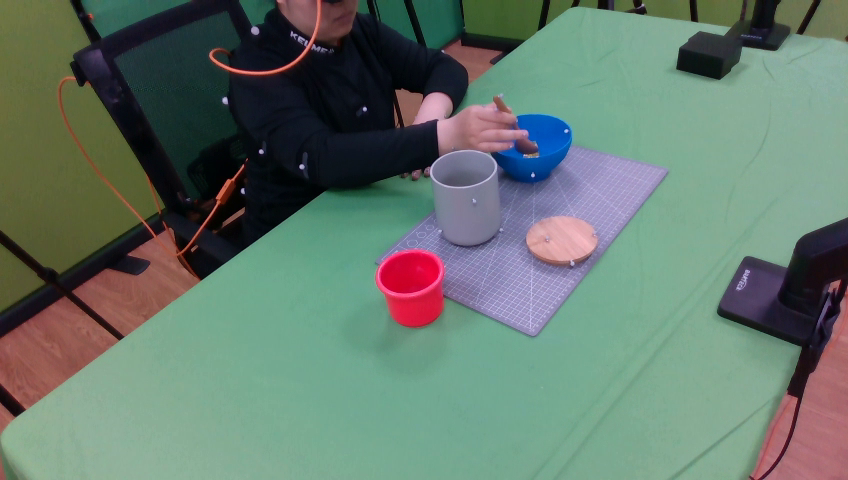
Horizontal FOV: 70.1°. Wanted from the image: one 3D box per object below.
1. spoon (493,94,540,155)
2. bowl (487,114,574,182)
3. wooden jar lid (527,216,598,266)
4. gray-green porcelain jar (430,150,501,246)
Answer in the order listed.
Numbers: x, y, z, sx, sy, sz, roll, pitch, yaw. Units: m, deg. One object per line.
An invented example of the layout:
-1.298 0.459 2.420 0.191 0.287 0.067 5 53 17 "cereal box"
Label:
0.151 -0.191 1.013 0.041 0.195 0.021 1 66 29 "spoon"
0.190 -0.156 1.085 0.151 0.077 0.150 -5 40 5 "bowl"
0.214 0.003 0.937 0.108 0.021 0.108 -4 40 4 "wooden jar lid"
0.069 -0.062 0.959 0.106 0.127 0.105 -5 40 5 "gray-green porcelain jar"
